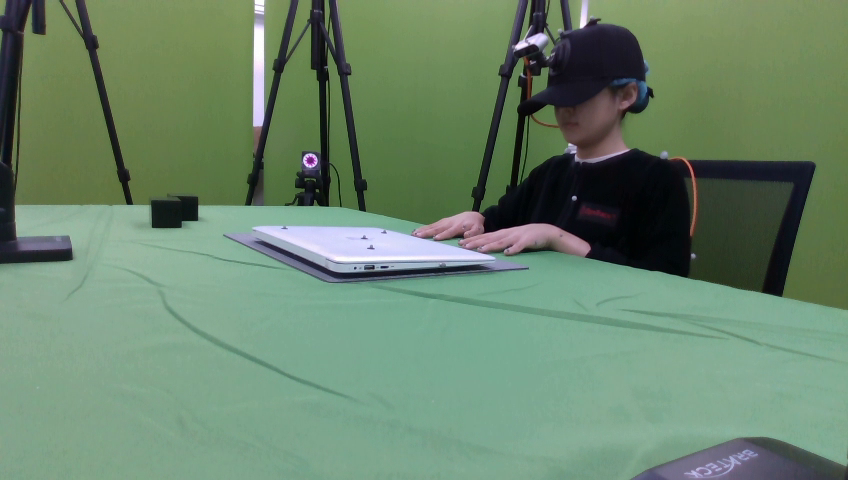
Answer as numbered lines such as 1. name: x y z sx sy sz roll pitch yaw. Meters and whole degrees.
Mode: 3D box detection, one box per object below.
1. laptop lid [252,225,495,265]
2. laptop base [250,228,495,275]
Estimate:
1. laptop lid: -0.090 0.004 0.883 0.243 0.013 0.355 1 7 -31
2. laptop base: -0.093 0.015 0.884 0.237 0.023 0.352 3 6 -32
